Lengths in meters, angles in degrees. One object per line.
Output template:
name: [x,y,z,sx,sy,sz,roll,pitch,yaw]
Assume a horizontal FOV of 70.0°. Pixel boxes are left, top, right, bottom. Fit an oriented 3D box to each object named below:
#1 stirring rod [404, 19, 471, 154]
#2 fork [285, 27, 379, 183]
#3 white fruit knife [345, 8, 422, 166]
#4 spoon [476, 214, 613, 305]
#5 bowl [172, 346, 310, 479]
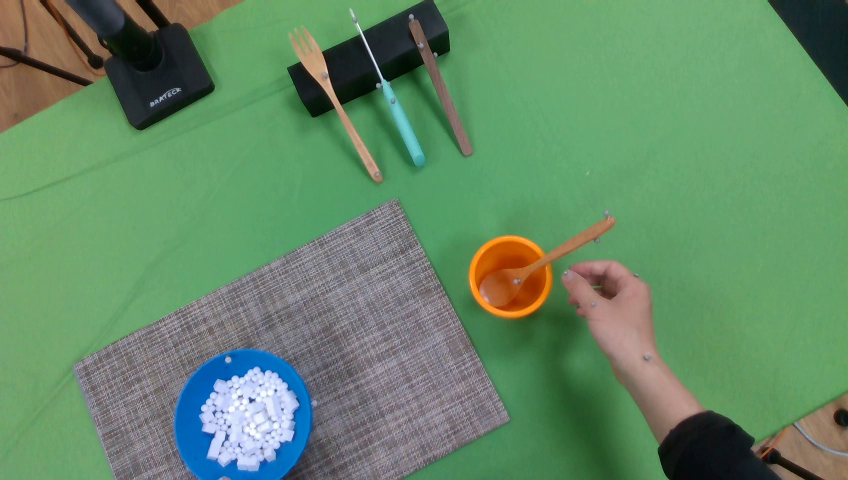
stirring rod: [0.017,-0.189,0.751,0.014,0.006,0.176,-25,98,-2]
fork: [-0.109,-0.163,0.746,0.028,0.018,0.208,-30,98,-4]
white fruit knife: [-0.052,-0.188,0.745,0.016,0.027,0.207,-26,95,-4]
spoon: [0.127,0.023,0.661,0.022,0.194,0.041,-15,74,-44]
bowl: [-0.193,0.198,0.683,0.151,0.077,0.150,-1,79,4]
